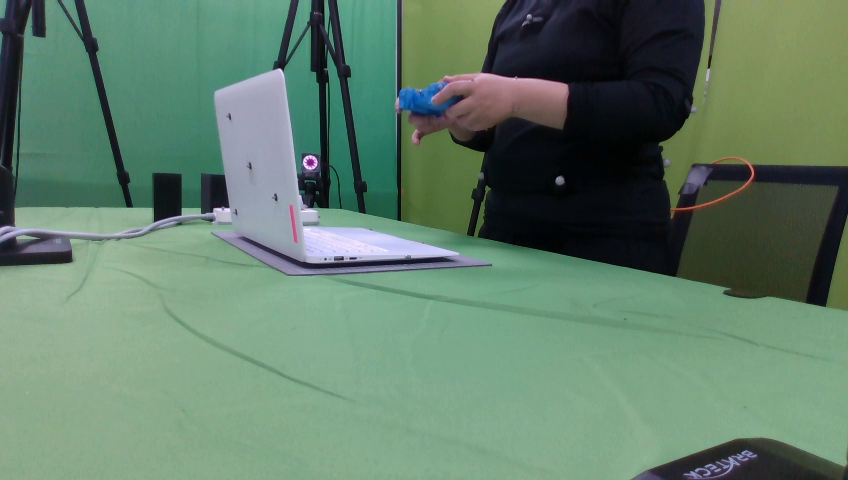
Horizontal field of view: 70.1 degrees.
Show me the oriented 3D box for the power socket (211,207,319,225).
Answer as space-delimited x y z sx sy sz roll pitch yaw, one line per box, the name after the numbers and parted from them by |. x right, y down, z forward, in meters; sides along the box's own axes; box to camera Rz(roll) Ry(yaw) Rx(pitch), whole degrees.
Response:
-0.334 -0.051 1.281 0.228 0.032 0.072 -1 9 -29 | power socket

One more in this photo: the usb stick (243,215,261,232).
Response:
-0.302 -0.029 1.071 0.021 0.027 0.059 0 11 -30 | usb stick

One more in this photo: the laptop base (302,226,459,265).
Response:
-0.136 0.006 0.951 0.237 0.023 0.352 2 6 -32 | laptop base

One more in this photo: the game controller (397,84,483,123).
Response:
0.023 -0.236 1.023 0.097 0.051 0.154 8 2 -33 | game controller

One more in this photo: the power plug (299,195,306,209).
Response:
-0.282 -0.075 1.342 0.035 0.052 0.072 0 4 -17 | power plug

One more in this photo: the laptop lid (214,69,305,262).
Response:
-0.246 -0.107 0.865 0.013 0.241 0.355 -11 14 -30 | laptop lid
